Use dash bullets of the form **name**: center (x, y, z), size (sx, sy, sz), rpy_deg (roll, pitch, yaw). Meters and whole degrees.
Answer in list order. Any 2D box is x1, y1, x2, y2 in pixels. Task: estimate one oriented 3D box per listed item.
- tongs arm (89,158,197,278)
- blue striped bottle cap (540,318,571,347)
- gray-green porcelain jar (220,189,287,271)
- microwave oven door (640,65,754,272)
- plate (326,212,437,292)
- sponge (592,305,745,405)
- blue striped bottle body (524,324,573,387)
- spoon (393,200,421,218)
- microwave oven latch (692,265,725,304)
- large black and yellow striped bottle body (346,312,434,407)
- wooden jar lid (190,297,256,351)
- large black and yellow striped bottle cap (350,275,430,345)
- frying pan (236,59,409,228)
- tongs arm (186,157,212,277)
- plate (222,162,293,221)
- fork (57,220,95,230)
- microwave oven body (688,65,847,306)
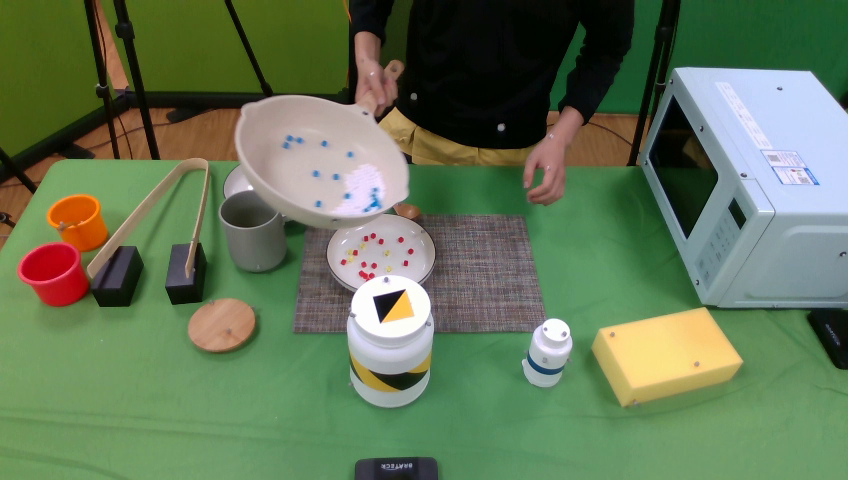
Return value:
- **tongs arm**: center (-0.530, -0.058, 1.163), size (0.028, 0.028, 0.385), rpy_deg (1, 36, 7)
- **blue striped bottle cap**: center (0.203, 0.142, 0.933), size (0.044, 0.021, 0.044), rpy_deg (3, 49, -3)
- **gray-green porcelain jar**: center (-0.309, -0.014, 1.113), size (0.106, 0.127, 0.105), rpy_deg (2, 46, -2)
- **microwave oven door**: center (0.523, -0.147, 1.193), size (0.039, 0.245, 0.353), rpy_deg (0, 47, -3)
- **plate**: center (-0.080, 0.030, 1.143), size (0.209, 0.038, 0.208), rpy_deg (2, 46, -2)
- **sponge**: center (0.405, 0.190, 1.014), size (0.207, 0.061, 0.117), rpy_deg (-10, 48, -12)
- **blue striped bottle body**: center (0.200, 0.178, 0.970), size (0.063, 0.121, 0.062), rpy_deg (2, 46, -2)
- **spoon**: center (-0.084, -0.093, 1.273), size (0.193, 0.022, 0.041), rpy_deg (31, 70, 25)
- **microwave oven latch**: center (0.522, 0.081, 1.116), size (0.030, 0.029, 0.078), rpy_deg (1, 46, -2)
- **large black and yellow striped bottle body**: center (-0.052, 0.157, 0.929), size (0.131, 0.185, 0.130), rpy_deg (2, 47, -2)
- **wooden jar lid**: center (-0.342, 0.145, 1.033), size (0.108, 0.021, 0.107), rpy_deg (2, 45, -2)
- **large black and yellow striped bottle cap**: center (-0.048, 0.097, 0.868), size (0.115, 0.019, 0.114), rpy_deg (3, 48, -3)
- **frying pan**: center (-0.134, -0.200, 1.092), size (0.307, 0.103, 0.486), rpy_deg (30, 51, -2)
- **tongs arm**: center (-0.445, -0.058, 1.168), size (0.051, 0.026, 0.382), rpy_deg (-4, 37, -6)
- **plate**: center (-0.310, -0.106, 1.262), size (0.208, 0.039, 0.206), rpy_deg (2, 47, -2)
- **fork**: center (-0.624, -0.027, 1.086), size (0.028, 0.207, 0.018), rpy_deg (-3, 92, -17)
- **microwave oven body**: center (0.669, -0.111, 1.176), size (0.326, 0.261, 0.439), rpy_deg (0, 46, -3)
